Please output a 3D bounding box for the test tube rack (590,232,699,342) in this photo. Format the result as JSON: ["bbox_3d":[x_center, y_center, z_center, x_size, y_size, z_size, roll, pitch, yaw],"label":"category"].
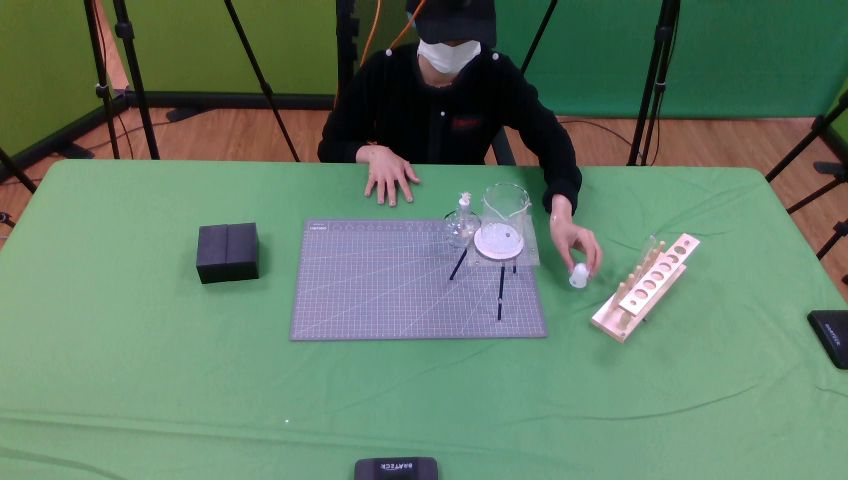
[{"bbox_3d":[0.407,0.074,1.112,0.066,0.085,0.242,35,53,26],"label":"test tube rack"}]

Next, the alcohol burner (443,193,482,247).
[{"bbox_3d":[0.075,-0.044,1.177,0.078,0.120,0.077,1,44,-1],"label":"alcohol burner"}]

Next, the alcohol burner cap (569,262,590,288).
[{"bbox_3d":[0.289,0.062,1.115,0.034,0.048,0.033,2,44,-2],"label":"alcohol burner cap"}]

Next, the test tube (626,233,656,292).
[{"bbox_3d":[0.384,0.042,1.079,0.017,0.151,0.017,1,48,-1],"label":"test tube"}]

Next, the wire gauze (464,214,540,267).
[{"bbox_3d":[0.131,-0.001,1.035,0.121,0.011,0.124,1,44,-2],"label":"wire gauze"}]

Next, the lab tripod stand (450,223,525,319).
[{"bbox_3d":[0.120,0.046,1.080,0.148,0.132,0.147,1,47,-1],"label":"lab tripod stand"}]

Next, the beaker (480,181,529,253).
[{"bbox_3d":[0.130,-0.033,0.998,0.074,0.101,0.083,5,47,4],"label":"beaker"}]
